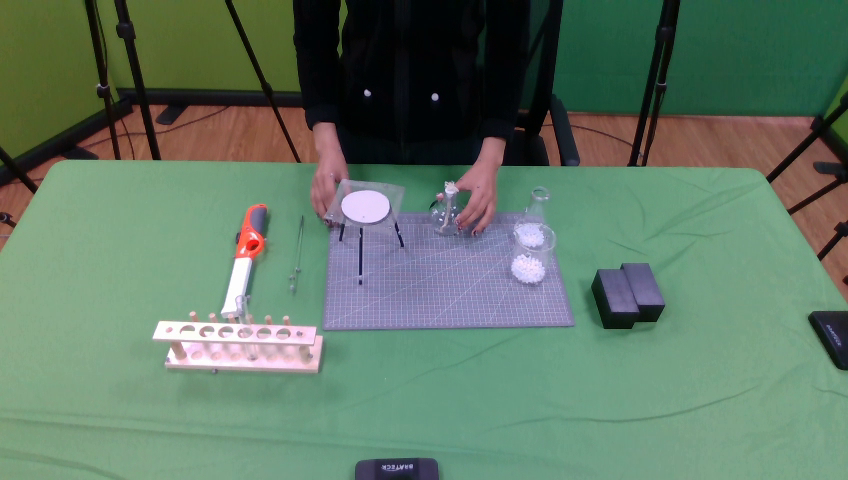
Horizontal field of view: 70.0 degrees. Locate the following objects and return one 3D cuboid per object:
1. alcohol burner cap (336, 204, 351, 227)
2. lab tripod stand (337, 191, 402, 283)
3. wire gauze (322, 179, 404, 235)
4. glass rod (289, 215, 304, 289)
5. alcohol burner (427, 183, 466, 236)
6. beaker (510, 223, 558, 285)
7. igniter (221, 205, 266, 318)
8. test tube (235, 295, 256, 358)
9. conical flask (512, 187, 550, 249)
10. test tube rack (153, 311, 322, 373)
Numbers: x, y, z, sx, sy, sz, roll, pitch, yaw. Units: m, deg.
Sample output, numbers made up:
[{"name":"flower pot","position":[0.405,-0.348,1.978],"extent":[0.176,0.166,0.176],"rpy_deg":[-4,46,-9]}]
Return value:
[{"name":"alcohol burner cap","position":[-0.162,-0.053,1.220],"extent":[0.034,0.048,0.033],"rpy_deg":[2,47,-2]},{"name":"lab tripod stand","position":[-0.106,-0.016,1.125],"extent":[0.148,0.132,0.147],"rpy_deg":[3,44,-2]},{"name":"wire gauze","position":[-0.106,-0.064,1.078],"extent":[0.125,0.011,0.121],"rpy_deg":[11,45,5]},{"name":"glass rod","position":[-0.246,0.019,1.171],"extent":[0.008,0.008,0.198],"rpy_deg":[1,44,-3]},{"name":"alcohol burner","position":[0.047,-0.066,1.200],"extent":[0.078,0.119,0.077],"rpy_deg":[4,45,-3]},{"name":"beaker","position":[0.199,0.027,1.132],"extent":[0.083,0.101,0.074],"rpy_deg":[26,50,21]},{"name":"igniter","position":[-0.337,0.030,1.140],"extent":[0.057,0.025,0.274],"rpy_deg":[-6,46,4]},{"name":"test tube","position":[-0.274,0.136,0.933],"extent":[0.017,0.151,0.017],"rpy_deg":[4,45,-4]},{"name":"conical flask","position":[0.217,-0.048,1.190],"extent":[0.075,0.122,0.075],"rpy_deg":[2,46,-2]},{"name":"test tube rack","position":[-0.293,0.160,0.978],"extent":[0.242,0.085,0.066],"rpy_deg":[3,46,-2]}]
